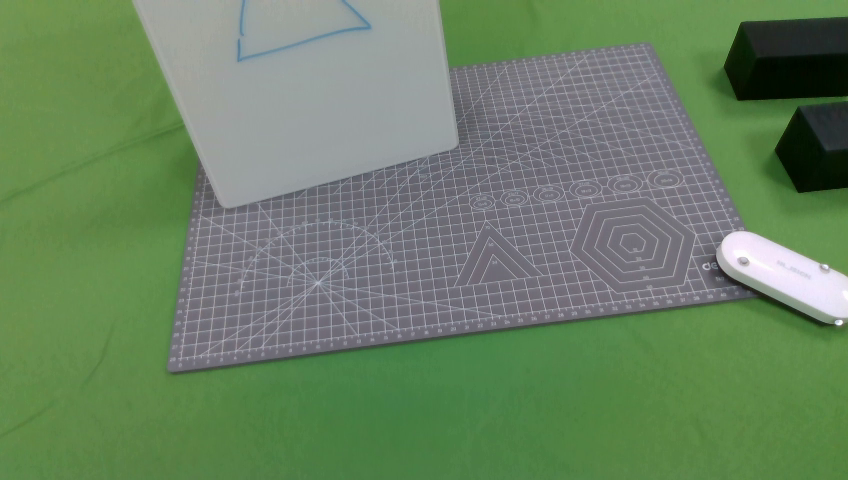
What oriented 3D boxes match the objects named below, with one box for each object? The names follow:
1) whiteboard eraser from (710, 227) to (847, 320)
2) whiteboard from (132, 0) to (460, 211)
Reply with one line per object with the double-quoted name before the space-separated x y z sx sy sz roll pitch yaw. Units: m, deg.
"whiteboard eraser" 0.263 0.024 0.442 0.100 0.019 0.041 29 60 20
"whiteboard" -0.110 -0.213 0.497 0.217 0.308 0.142 -16 36 -6
